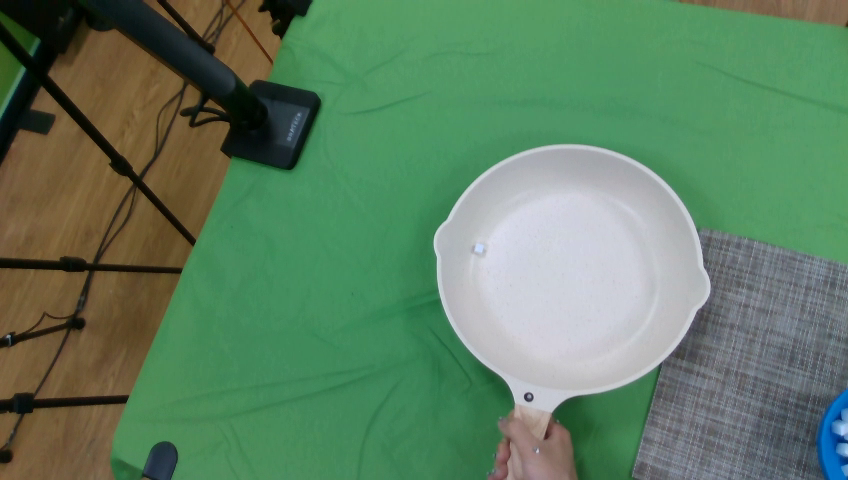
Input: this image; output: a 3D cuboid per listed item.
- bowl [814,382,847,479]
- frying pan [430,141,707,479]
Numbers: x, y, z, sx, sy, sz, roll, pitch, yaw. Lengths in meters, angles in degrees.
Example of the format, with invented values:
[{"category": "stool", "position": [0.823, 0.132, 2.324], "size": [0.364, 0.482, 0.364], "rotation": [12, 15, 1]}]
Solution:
[{"category": "bowl", "position": [0.452, 0.205, 0.589], "size": [0.151, 0.077, 0.150], "rotation": [-3, 73, 11]}, {"category": "frying pan", "position": [0.130, 0.122, 0.670], "size": [0.305, 0.103, 0.485], "rotation": [12, 68, 15]}]
